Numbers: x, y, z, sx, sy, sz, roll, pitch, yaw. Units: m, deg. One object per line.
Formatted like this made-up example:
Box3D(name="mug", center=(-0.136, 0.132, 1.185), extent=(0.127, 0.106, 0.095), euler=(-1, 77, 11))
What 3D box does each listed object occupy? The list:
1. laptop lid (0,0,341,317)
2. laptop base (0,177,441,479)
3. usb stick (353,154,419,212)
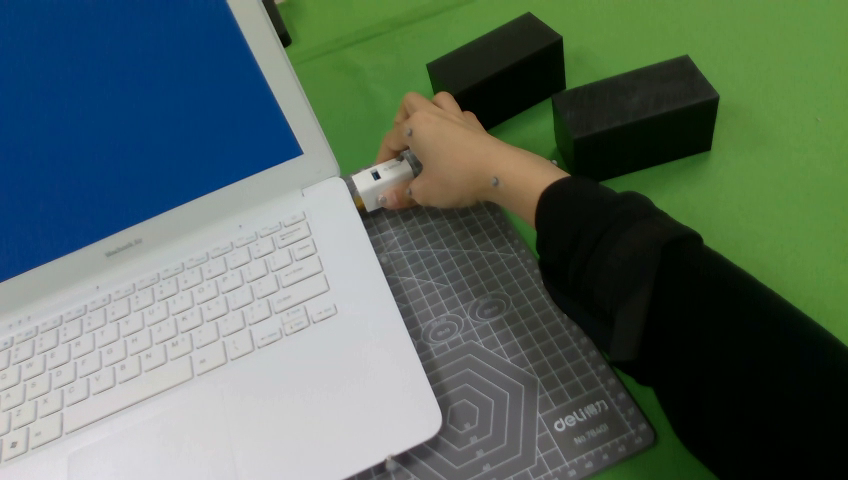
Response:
Box3D(name="laptop lid", center=(-0.260, -0.071, 0.417), extent=(0.357, 0.244, 0.013), euler=(-25, 35, -3))
Box3D(name="laptop base", center=(-0.185, 0.100, 0.411), extent=(0.354, 0.023, 0.233), euler=(-24, 53, -3))
Box3D(name="usb stick", center=(-0.036, -0.041, 0.465), extent=(0.059, 0.027, 0.021), euler=(-27, 48, -2))
